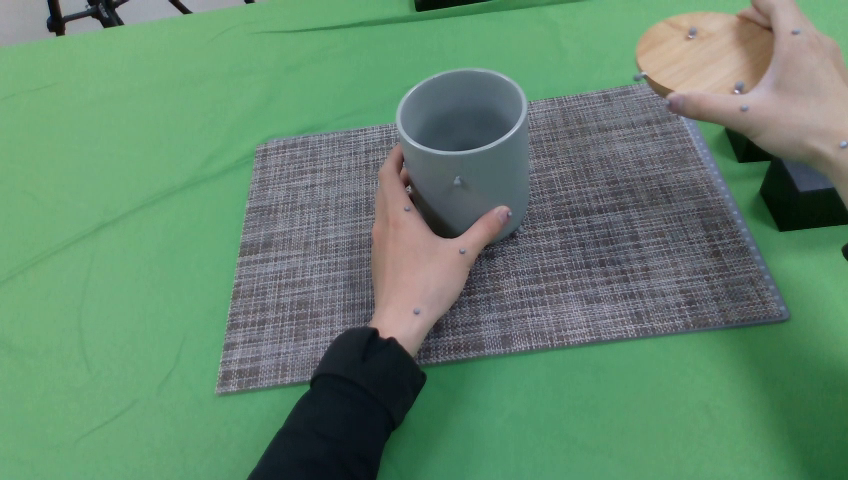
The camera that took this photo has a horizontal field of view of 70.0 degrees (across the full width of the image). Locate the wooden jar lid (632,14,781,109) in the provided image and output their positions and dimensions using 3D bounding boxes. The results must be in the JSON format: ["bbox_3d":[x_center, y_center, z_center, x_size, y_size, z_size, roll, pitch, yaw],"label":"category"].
[{"bbox_3d":[0.221,-0.141,0.480,0.108,0.021,0.107,-6,53,8],"label":"wooden jar lid"}]

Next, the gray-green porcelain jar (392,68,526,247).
[{"bbox_3d":[0.035,-0.064,0.523,0.106,0.128,0.105,-5,51,6],"label":"gray-green porcelain jar"}]
